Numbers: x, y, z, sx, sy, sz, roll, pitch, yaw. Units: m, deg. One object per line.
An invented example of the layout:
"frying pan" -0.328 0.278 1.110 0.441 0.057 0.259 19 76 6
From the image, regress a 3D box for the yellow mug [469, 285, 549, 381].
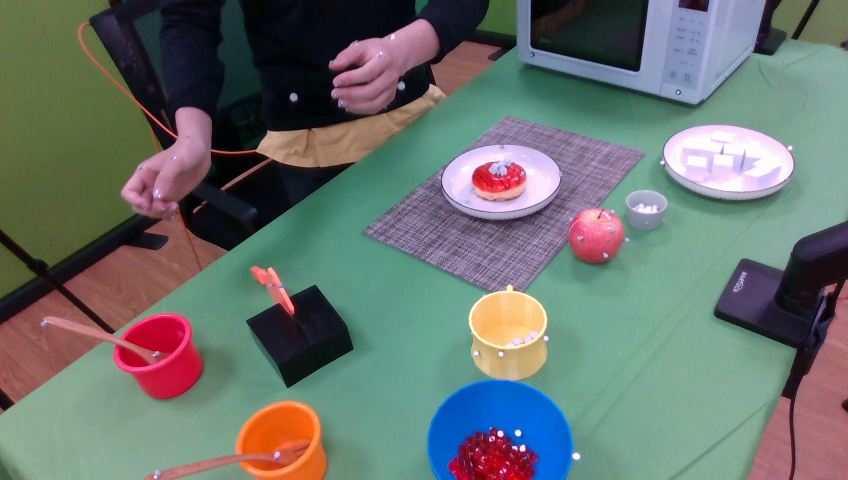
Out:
"yellow mug" 0.112 0.112 0.792 0.100 0.064 0.130 0 40 9

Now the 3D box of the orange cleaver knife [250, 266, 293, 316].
"orange cleaver knife" -0.221 0.071 0.873 0.012 0.077 0.210 -26 11 -21

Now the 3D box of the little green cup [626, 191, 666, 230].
"little green cup" 0.352 -0.046 0.963 0.061 0.039 0.061 -4 40 4

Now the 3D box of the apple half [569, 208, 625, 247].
"apple half" 0.262 -0.014 0.913 0.080 0.075 0.053 5 37 20

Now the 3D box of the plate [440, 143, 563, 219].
"plate" 0.134 -0.098 1.051 0.209 0.038 0.208 -4 40 4

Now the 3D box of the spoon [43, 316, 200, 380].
"spoon" -0.385 0.136 0.778 0.195 0.021 0.041 31 35 -24

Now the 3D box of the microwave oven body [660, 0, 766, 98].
"microwave oven body" 0.472 -0.513 1.317 0.438 0.261 0.327 26 51 34

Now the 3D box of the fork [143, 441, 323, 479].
"fork" -0.189 0.231 0.631 0.028 0.018 0.209 35 13 37

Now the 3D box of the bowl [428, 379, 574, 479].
"bowl" 0.082 0.233 0.644 0.151 0.077 0.150 -4 40 4

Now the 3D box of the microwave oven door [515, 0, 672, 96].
"microwave oven door" 0.343 -0.454 1.259 0.353 0.245 0.039 26 51 33

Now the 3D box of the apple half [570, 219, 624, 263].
"apple half" 0.251 0.009 0.885 0.081 0.081 0.033 8 39 17

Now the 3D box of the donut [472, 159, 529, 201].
"donut" 0.132 -0.105 1.043 0.099 0.048 0.098 -5 38 4

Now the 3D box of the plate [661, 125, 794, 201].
"plate" 0.513 -0.128 1.035 0.207 0.039 0.206 -4 40 4

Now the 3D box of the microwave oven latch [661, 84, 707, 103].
"microwave oven latch" 0.517 -0.296 1.204 0.078 0.029 0.030 27 52 35
